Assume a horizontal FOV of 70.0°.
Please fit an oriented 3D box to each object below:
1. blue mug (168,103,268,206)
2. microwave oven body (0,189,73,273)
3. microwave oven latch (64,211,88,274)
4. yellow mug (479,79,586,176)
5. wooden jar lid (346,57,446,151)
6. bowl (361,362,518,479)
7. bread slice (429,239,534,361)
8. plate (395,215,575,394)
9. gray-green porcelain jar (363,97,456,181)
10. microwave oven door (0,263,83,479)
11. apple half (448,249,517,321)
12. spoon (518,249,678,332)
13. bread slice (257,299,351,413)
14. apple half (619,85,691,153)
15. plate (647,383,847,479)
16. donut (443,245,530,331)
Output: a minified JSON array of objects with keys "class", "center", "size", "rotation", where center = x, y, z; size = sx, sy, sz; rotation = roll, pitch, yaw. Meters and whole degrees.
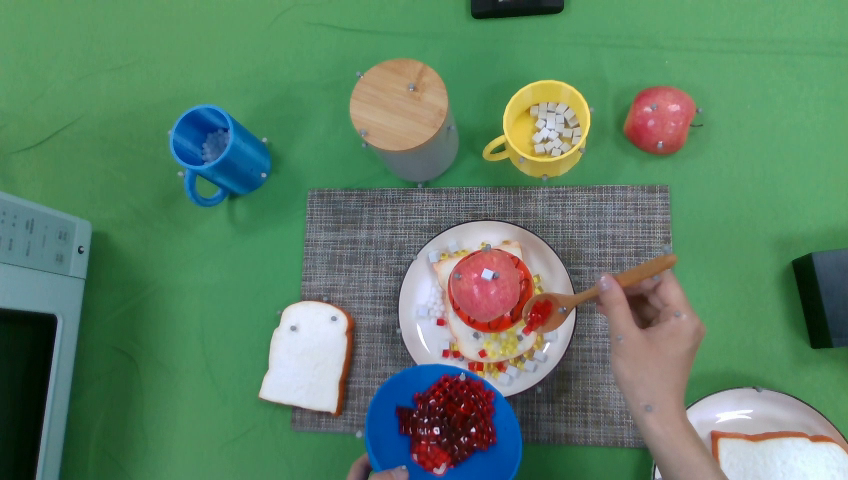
[{"class":"blue mug","center":[-0.264,-0.098,0.765],"size":[0.082,0.106,0.116],"rotation":[21,83,13]},{"class":"microwave oven body","center":[-0.633,0.158,0.693],"size":[0.325,0.261,0.440],"rotation":[0,80,9]},{"class":"microwave oven latch","center":[-0.465,0.003,0.794],"size":[0.030,0.029,0.079],"rotation":[4,81,10]},{"class":"yellow mug","center":[0.127,-0.127,0.728],"size":[0.131,0.064,0.099],"rotation":[-22,77,6]},{"class":"wooden jar lid","center":[-0.030,-0.146,0.660],"size":[0.108,0.021,0.108],"rotation":[-2,77,7]},{"class":"bowl","center":[0.010,0.203,0.591],"size":[0.152,0.077,0.150],"rotation":[8,41,-7]},{"class":"bread slice","center":[0.074,0.073,0.708],"size":[0.107,0.018,0.133],"rotation":[-17,78,8]},{"class":"plate","center":[0.070,0.076,0.710],"size":[0.207,0.039,0.206],"rotation":[-2,79,9]},{"class":"gray-green porcelain jar","center":[-0.018,-0.134,0.722],"size":[0.106,0.127,0.105],"rotation":[-2,79,9]},{"class":"microwave oven door","center":[-0.491,0.199,0.657],"size":[0.039,0.245,0.354],"rotation":[0,79,10]},{"class":"apple half","center":[0.062,0.047,0.650],"size":[0.081,0.033,0.081],"rotation":[-4,76,15]},{"class":"spoon","center":[0.154,0.049,0.564],"size":[0.022,0.194,0.041],"rotation":[-14,77,-34]},{"class":"bread slice","center":[-0.145,0.138,0.744],"size":[0.104,0.019,0.131],"rotation":[8,82,10]},{"class":"apple half","center":[0.274,-0.149,0.715],"size":[0.074,0.053,0.080],"rotation":[23,84,15]},{"class":"plate","center":[0.340,0.255,0.636],"size":[0.209,0.038,0.208],"rotation":[-2,79,10]},{"class":"donut","center":[0.070,0.054,0.685],"size":[0.099,0.048,0.098],"rotation":[-2,80,10]}]
